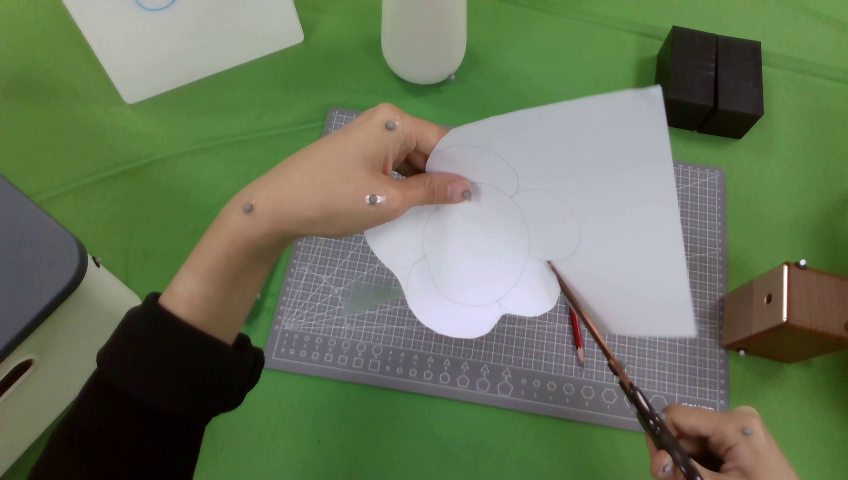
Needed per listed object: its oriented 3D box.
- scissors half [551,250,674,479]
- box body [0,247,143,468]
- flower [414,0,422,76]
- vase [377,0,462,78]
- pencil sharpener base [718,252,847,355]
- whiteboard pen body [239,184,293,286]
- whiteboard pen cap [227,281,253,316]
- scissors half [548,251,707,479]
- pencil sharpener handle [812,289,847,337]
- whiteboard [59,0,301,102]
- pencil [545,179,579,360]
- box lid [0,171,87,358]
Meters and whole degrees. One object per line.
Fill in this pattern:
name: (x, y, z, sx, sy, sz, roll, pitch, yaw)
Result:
scissors half: (0.118, 0.079, 0.367, 0.013, 0.040, 0.176, -30, 105, 3)
box body: (-0.470, 0.031, 0.522, 0.362, 0.161, 0.253, 35, 72, 11)
flower: (-0.008, -0.305, 0.557, 0.044, 0.365, 0.038, 3, 51, 3)
vase: (-0.004, -0.261, 0.629, 0.098, 0.201, 0.097, 0, 68, 0)
pencil sharpener base: (0.338, 0.063, 0.566, 0.077, 0.107, 0.061, 13, 68, 0)
whiteboard pen body: (-0.164, 0.004, 0.619, 0.017, 0.017, 0.140, 16, 68, 5)
whiteboard pen cap: (-0.179, 0.057, 0.597, 0.018, 0.018, 0.033, 15, 65, 4)
scissors half: (0.118, 0.080, 0.347, 0.013, 0.040, 0.174, -31, 84, -2)
pencil sharpener handle: (0.388, 0.072, 0.554, 0.030, 0.068, 0.035, 13, 63, 0)
whiteboard: (-0.289, -0.340, 0.625, 0.217, 0.308, 0.142, -24, 52, -10)
pencil: (0.143, 0.027, 0.624, 0.012, 0.012, 0.192, -4, 71, -3)
box lid: (-0.470, 0.003, 0.453, 0.370, 0.015, 0.262, 35, 72, 11)
